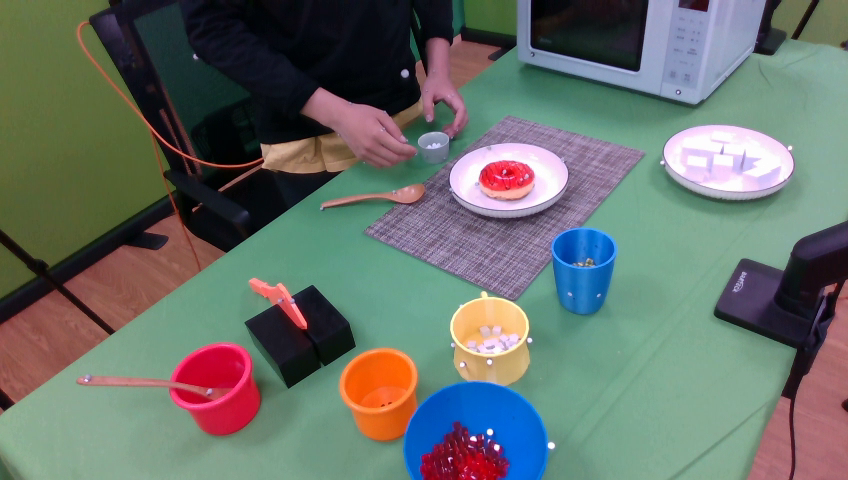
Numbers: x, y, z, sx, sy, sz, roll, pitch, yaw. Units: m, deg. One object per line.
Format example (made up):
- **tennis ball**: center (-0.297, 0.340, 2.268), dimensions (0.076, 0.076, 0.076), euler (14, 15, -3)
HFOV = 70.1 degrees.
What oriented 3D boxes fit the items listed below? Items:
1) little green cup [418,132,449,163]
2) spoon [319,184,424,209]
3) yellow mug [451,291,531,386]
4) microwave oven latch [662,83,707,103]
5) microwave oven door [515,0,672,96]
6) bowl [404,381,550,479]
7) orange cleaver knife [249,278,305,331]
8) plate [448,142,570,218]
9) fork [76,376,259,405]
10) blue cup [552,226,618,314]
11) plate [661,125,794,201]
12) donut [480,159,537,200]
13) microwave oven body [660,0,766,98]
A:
- **little green cup**: center (0.020, -0.178, 1.168), dimensions (0.061, 0.039, 0.061), euler (-3, 40, 3)
- **spoon**: center (-0.094, -0.076, 1.074), dimensions (0.193, 0.022, 0.041), euler (-5, 56, 5)
- **yellow mug**: center (0.085, 0.120, 0.786), dimensions (0.100, 0.064, 0.130), euler (-7, 39, 1)
- **microwave oven latch**: center (0.517, -0.296, 1.204), dimensions (0.078, 0.029, 0.030), euler (27, 52, 35)
- **microwave oven door**: center (0.344, -0.454, 1.259), dimensions (0.353, 0.245, 0.039), euler (26, 51, 33)
- **bowl**: center (0.058, 0.235, 0.645), dimensions (0.151, 0.077, 0.150), euler (-4, 39, 4)
- **orange cleaver knife**: center (-0.210, 0.088, 0.856), dimensions (0.012, 0.077, 0.210), euler (-28, 15, -25)
- **plate**: center (0.148, -0.101, 1.053), dimensions (0.209, 0.038, 0.208), euler (-4, 40, 4)
- **fork**: center (-0.295, 0.176, 0.716), dimensions (0.209, 0.018, 0.028), euler (19, 27, -36)
- **blue cup**: center (0.218, 0.047, 0.826), dimensions (0.092, 0.100, 0.092), euler (-6, 40, 5)
- **plate**: center (0.513, -0.128, 1.035), dimensions (0.207, 0.039, 0.206), euler (-4, 40, 4)
- **donut**: center (0.145, -0.106, 1.042), dimensions (0.099, 0.048, 0.098), euler (-4, 38, 4)
- **microwave oven body**: center (0.473, -0.513, 1.317), dimensions (0.438, 0.261, 0.327), euler (26, 51, 34)
